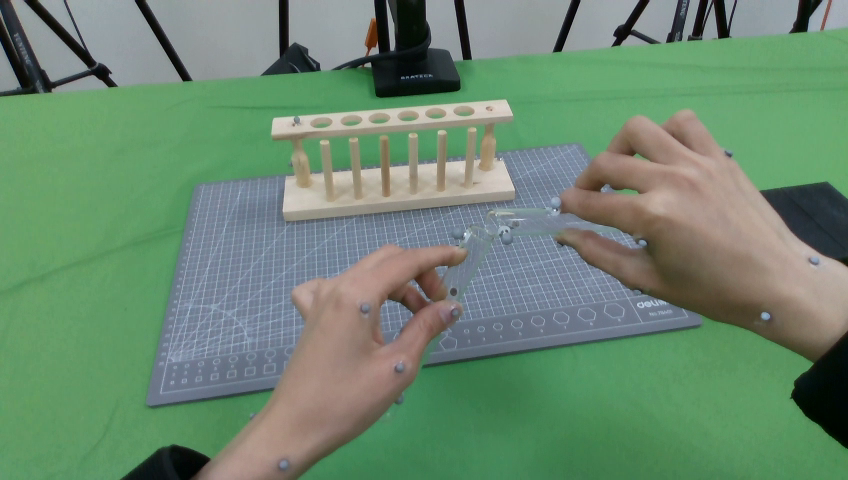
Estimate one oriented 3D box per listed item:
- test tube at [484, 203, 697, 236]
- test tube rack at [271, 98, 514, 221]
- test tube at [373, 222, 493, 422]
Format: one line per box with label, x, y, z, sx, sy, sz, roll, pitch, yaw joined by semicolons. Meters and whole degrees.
test tube;0.102;-0.013;0.354;0.151;0.017;0.017;-3;38;-25
test tube rack;-0.029;-0.084;0.631;0.243;0.086;0.066;-6;41;-5
test tube;0.002;0.054;0.359;0.017;0.151;0.017;21;26;-10
